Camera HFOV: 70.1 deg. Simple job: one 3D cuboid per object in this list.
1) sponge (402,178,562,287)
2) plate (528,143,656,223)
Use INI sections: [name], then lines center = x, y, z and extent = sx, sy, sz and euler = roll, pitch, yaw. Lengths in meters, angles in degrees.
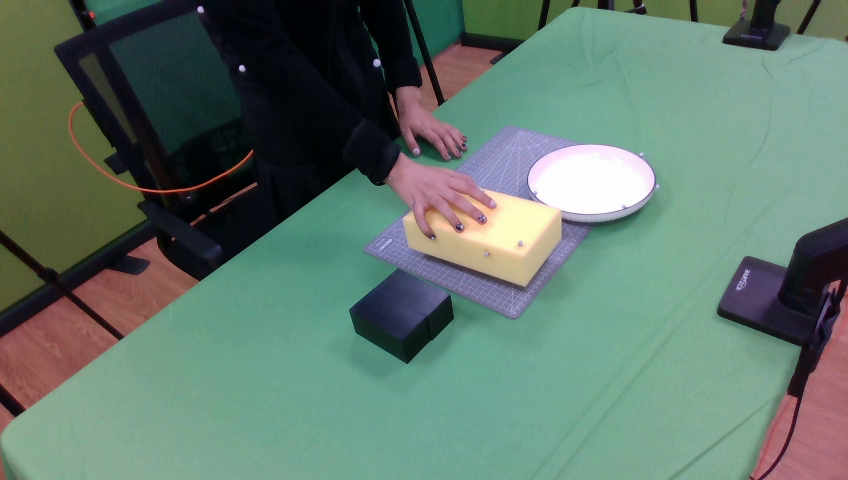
[sponge]
center = 0.087, -0.017, 0.908
extent = 0.205, 0.061, 0.118
euler = 17, 47, 29
[plate]
center = 0.281, -0.093, 1.023
extent = 0.209, 0.038, 0.208
euler = -5, 40, 5
